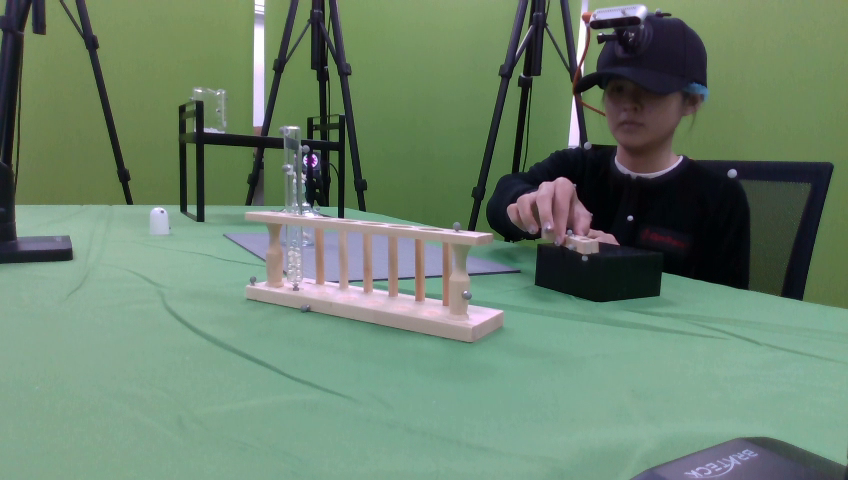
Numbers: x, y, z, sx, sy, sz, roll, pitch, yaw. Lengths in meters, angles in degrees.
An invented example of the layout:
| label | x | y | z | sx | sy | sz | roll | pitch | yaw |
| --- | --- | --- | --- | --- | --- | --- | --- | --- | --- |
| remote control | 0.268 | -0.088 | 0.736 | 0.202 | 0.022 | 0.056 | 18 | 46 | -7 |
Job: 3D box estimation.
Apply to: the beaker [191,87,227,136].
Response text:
| label | x | y | z | sx | sy | sz | roll | pitch | yaw |
| --- | --- | --- | --- | --- | --- | --- | --- | --- | --- |
| beaker | -0.476 | -0.284 | 1.345 | 0.074 | 0.100 | 0.083 | -3 | 10 | -37 |

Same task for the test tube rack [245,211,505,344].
| label | x | y | z | sx | sy | sz | roll | pitch | yaw |
| --- | --- | --- | --- | --- | --- | --- | --- | --- | --- |
| test tube rack | -0.049 | 0.025 | 0.547 | 0.241 | 0.085 | 0.067 | 7 | 8 | 29 |

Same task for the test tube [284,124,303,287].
| label | x | y | z | sx | sy | sz | roll | pitch | yaw |
| --- | --- | --- | --- | --- | --- | --- | --- | --- | --- |
| test tube | -0.120 | -0.030 | 0.558 | 0.017 | 0.150 | 0.017 | 2 | 10 | 0 |

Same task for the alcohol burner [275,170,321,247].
| label | x | y | z | sx | sy | sz | roll | pitch | yaw |
| --- | --- | --- | --- | --- | --- | --- | --- | --- | --- |
| alcohol burner | -0.200 | -0.050 | 0.948 | 0.078 | 0.119 | 0.078 | 1 | 7 | 0 |

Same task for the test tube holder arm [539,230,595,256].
| label | x | y | z | sx | sy | sz | roll | pitch | yaw |
| --- | --- | --- | --- | --- | --- | --- | --- | --- | --- |
| test tube holder arm | 0.162 | 0.001 | 0.703 | 0.013 | 0.015 | 0.178 | 4 | 5 | -7 |

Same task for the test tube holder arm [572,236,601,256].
| label | x | y | z | sx | sy | sz | roll | pitch | yaw |
| --- | --- | --- | --- | --- | --- | --- | --- | --- | --- |
| test tube holder arm | 0.172 | 0.006 | 0.658 | 0.010 | 0.015 | 0.087 | 4 | 5 | -6 |

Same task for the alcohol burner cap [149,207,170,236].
| label | x | y | z | sx | sy | sz | roll | pitch | yaw |
| --- | --- | --- | --- | --- | --- | --- | --- | --- | --- |
| alcohol burner cap | -0.445 | -0.032 | 1.019 | 0.034 | 0.048 | 0.034 | 4 | 8 | 0 |
